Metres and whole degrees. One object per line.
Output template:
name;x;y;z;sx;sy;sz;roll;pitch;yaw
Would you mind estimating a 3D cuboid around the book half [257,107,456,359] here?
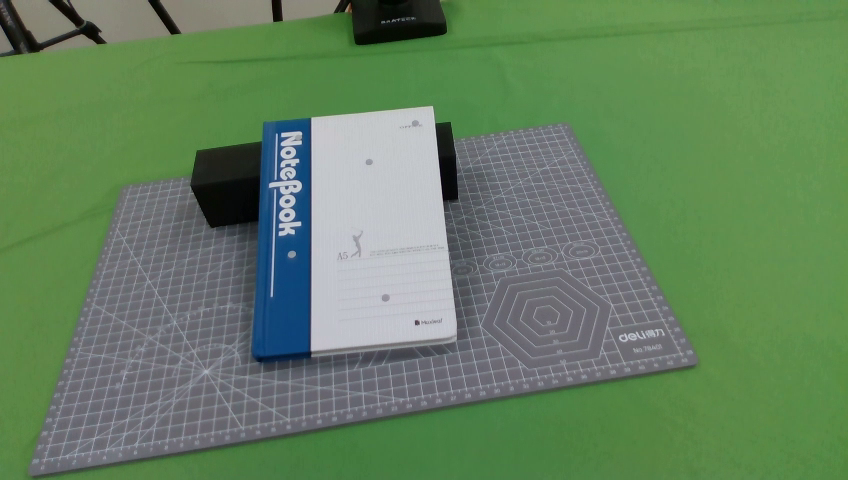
book half;-0.056;-0.015;0.475;0.143;0.007;0.208;-6;63;0
